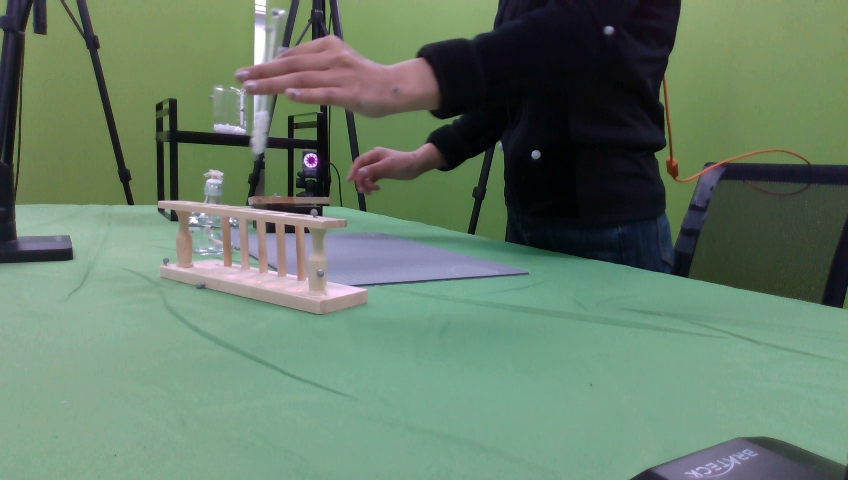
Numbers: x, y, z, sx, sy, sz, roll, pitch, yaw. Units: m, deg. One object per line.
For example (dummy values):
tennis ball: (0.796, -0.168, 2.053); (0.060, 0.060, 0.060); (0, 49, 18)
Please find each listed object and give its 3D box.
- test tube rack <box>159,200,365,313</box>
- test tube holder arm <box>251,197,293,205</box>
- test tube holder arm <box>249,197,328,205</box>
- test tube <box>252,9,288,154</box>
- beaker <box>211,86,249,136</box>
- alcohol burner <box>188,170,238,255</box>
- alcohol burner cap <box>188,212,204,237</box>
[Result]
test tube rack: (-0.173, 0.008, 0.624); (0.241, 0.085, 0.067); (7, 9, 34)
test tube holder arm: (-0.277, -0.072, 1.108); (0.010, 0.015, 0.088); (5, 6, 39)
test tube holder arm: (-0.253, -0.075, 1.147); (0.013, 0.015, 0.179); (5, 6, 38)
test tube: (-0.162, -0.165, 0.635); (0.017, 0.150, 0.017); (12, 12, -2)
beaker: (-0.413, -0.274, 1.297); (0.074, 0.100, 0.083); (-5, 11, -44)
alcohol burner: (-0.298, -0.039, 0.852); (0.078, 0.119, 0.078); (3, 6, 0)
alcohol burner cap: (-0.389, -0.029, 1.025); (0.034, 0.048, 0.034); (2, 8, 0)
